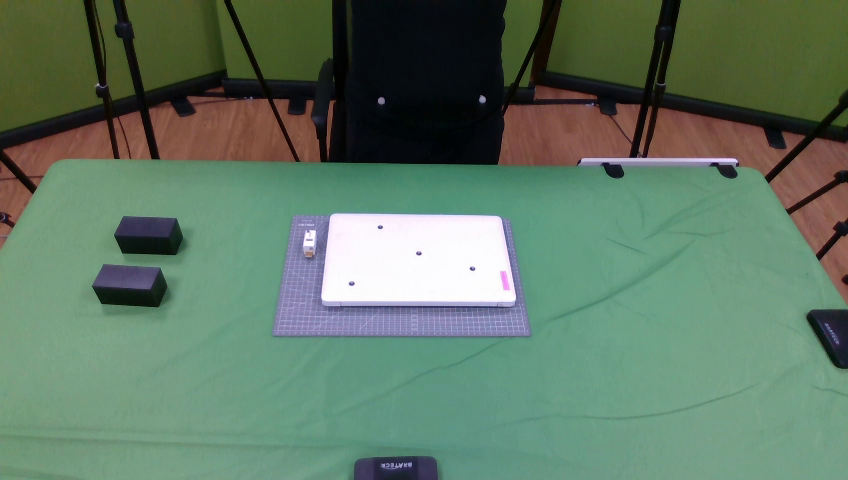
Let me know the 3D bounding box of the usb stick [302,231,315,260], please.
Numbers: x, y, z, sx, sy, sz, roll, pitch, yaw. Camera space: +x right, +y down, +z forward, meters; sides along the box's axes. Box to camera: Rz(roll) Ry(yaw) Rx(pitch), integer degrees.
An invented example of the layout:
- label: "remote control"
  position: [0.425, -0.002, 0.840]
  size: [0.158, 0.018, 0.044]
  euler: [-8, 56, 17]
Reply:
- label: "usb stick"
  position: [-0.223, 0.011, 1.163]
  size: [0.021, 0.027, 0.059]
  euler: [3, 48, -6]

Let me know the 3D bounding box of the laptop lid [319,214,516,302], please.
- label: "laptop lid"
  position: [-0.013, 0.029, 1.154]
  size: [0.357, 0.013, 0.240]
  euler: [2, 43, -3]

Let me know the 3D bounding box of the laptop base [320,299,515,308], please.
- label: "laptop base"
  position: [-0.013, 0.039, 1.160]
  size: [0.355, 0.023, 0.234]
  euler: [0, 43, -4]
